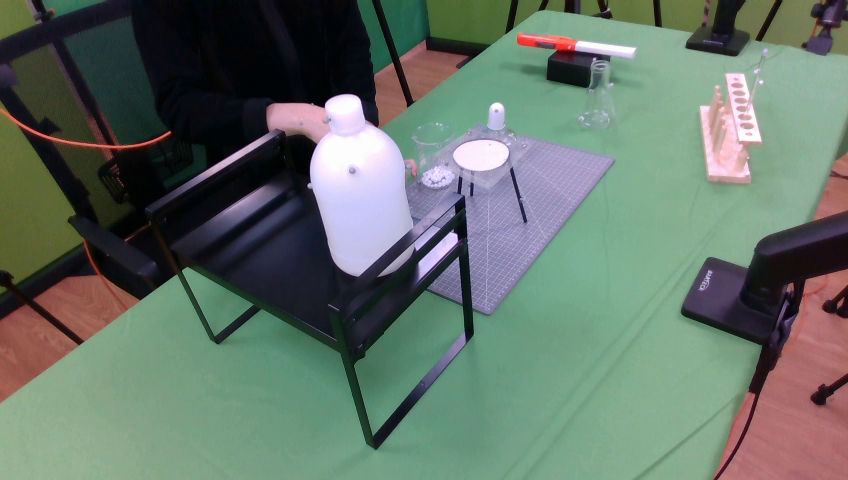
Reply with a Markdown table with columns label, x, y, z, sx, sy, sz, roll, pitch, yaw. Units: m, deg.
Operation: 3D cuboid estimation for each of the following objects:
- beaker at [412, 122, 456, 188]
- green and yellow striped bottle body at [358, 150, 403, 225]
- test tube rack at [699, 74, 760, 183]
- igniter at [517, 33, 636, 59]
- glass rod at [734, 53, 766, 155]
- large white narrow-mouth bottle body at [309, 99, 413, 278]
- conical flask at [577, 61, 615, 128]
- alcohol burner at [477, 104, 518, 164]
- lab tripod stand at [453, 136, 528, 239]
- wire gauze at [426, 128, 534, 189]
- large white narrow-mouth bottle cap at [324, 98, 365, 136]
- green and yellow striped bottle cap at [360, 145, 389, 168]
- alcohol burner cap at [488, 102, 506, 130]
| label | x | y | z | sx | sy | sz | roll | pitch | yaw |
| --- | --- | --- | --- | --- | --- | --- | --- | --- | --- |
| beaker | 0.022 | -0.152 | 1.088 | 0.073 | 0.100 | 0.084 | 13 | 44 | 21 |
| green and yellow striped bottle body | -0.073 | -0.090 | 1.012 | 0.063 | 0.120 | 0.063 | -4 | 41 | 4 |
| test tube rack | 0.547 | -0.208 | 1.095 | 0.066 | 0.085 | 0.242 | 6 | 42 | 16 |
| igniter | 0.336 | -0.441 | 1.369 | 0.275 | 0.025 | 0.057 | 16 | 41 | 23 |
| glass rod | 0.540 | -0.220 | 1.007 | 0.008 | 0.201 | 0.008 | -5 | 46 | 6 |
| large white narrow-mouth bottle body | -0.068 | -0.057 | 0.644 | 0.102 | 0.195 | 0.101 | -3 | 42 | 4 |
| conical flask | 0.343 | -0.288 | 1.188 | 0.075 | 0.122 | 0.075 | -4 | 41 | 4 |
| alcohol burner | 0.135 | -0.200 | 1.117 | 0.078 | 0.119 | 0.077 | -4 | 43 | 4 |
| lab tripod stand | 0.094 | -0.086 | 0.974 | 0.148 | 0.132 | 0.147 | -4 | 43 | 4 |
| wire gauze | 0.086 | -0.131 | 0.924 | 0.124 | 0.011 | 0.122 | 26 | 52 | 33 |
| large white narrow-mouth bottle cap | -0.076 | -0.120 | 0.585 | 0.038 | 0.024 | 0.037 | -3 | 42 | 3 |
| green and yellow striped bottle cap | -0.080 | -0.135 | 0.973 | 0.045 | 0.020 | 0.045 | -8 | 37 | 6 |
| alcohol burner cap | 0.133 | -0.227 | 1.092 | 0.034 | 0.048 | 0.033 | -1 | 47 | 2 |
